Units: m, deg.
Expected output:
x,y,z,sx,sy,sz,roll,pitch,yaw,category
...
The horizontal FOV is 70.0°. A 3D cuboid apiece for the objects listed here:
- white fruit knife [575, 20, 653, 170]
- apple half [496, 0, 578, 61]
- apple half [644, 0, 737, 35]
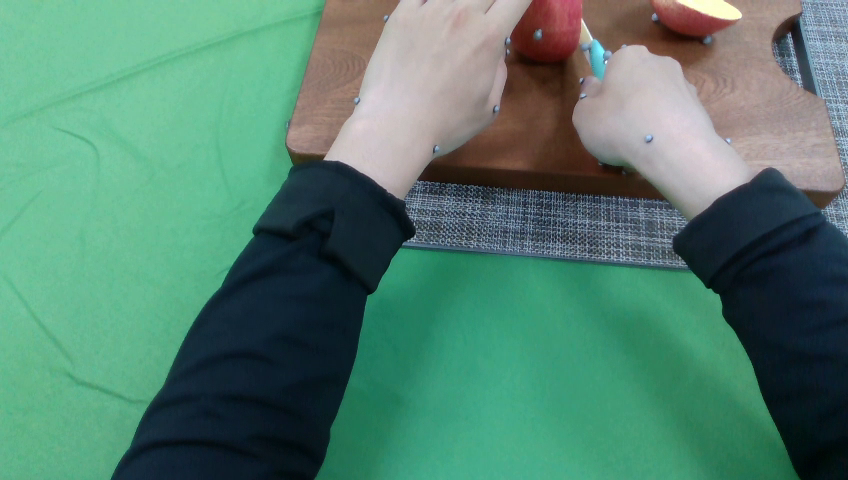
x,y,z,sx,sy,sz,roll,pitch,yaw,category
0.123,-0.135,0.448,0.016,0.028,0.205,-11,55,-2,white fruit knife
0.082,-0.177,0.461,0.053,0.075,0.080,-11,65,3,apple half
0.199,-0.182,0.477,0.081,0.033,0.080,12,45,-12,apple half
